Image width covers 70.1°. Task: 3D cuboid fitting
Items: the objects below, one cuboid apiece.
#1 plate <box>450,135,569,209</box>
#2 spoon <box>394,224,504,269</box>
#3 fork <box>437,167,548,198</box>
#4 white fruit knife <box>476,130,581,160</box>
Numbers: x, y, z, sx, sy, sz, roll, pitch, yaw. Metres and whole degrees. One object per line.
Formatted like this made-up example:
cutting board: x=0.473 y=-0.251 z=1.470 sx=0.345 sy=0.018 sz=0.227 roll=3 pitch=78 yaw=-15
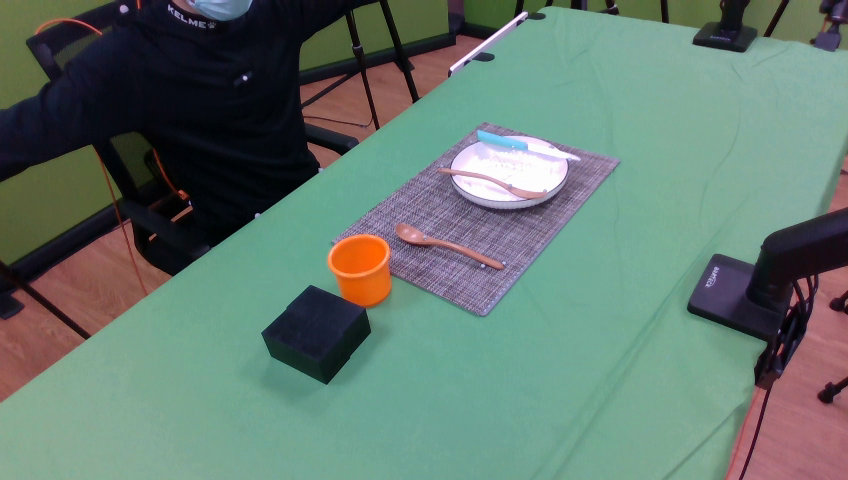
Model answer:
plate: x=0.149 y=-0.117 z=1.065 sx=0.209 sy=0.038 sz=0.208 roll=-3 pitch=41 yaw=3
spoon: x=0.037 y=0.010 z=0.945 sx=0.192 sy=0.022 sz=0.042 roll=18 pitch=29 yaw=26
fork: x=0.110 y=-0.099 z=1.017 sx=0.206 sy=0.019 sz=0.028 roll=20 pitch=38 yaw=26
white fruit knife: x=0.184 y=-0.170 z=1.089 sx=0.206 sy=0.016 sz=0.027 roll=18 pitch=43 yaw=25
